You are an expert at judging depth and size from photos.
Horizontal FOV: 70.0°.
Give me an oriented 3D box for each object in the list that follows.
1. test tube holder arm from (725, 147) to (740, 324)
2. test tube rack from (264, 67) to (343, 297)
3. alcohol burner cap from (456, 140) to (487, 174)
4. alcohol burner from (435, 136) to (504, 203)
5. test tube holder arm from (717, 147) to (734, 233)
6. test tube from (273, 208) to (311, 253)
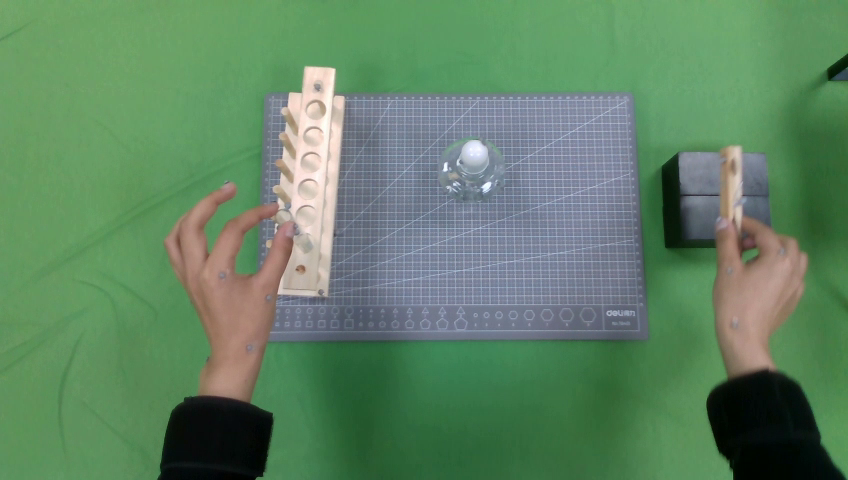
[{"bbox_3d":[0.310,-0.005,0.610,0.013,0.015,0.178,1,86,-6],"label":"test tube holder arm"},{"bbox_3d":[-0.138,-0.062,0.676,0.067,0.085,0.241,4,80,0],"label":"test tube rack"},{"bbox_3d":[0.050,-0.089,0.633,0.034,0.048,0.034,0,85,2],"label":"alcohol burner cap"},{"bbox_3d":[0.051,-0.082,0.668,0.078,0.119,0.077,0,81,1],"label":"alcohol burner"},{"bbox_3d":[0.305,-0.050,0.612,0.010,0.015,0.087,2,86,-6],"label":"test tube holder arm"},{"bbox_3d":[-0.129,-0.002,0.616,0.017,0.151,0.017,0,75,0],"label":"test tube"}]
